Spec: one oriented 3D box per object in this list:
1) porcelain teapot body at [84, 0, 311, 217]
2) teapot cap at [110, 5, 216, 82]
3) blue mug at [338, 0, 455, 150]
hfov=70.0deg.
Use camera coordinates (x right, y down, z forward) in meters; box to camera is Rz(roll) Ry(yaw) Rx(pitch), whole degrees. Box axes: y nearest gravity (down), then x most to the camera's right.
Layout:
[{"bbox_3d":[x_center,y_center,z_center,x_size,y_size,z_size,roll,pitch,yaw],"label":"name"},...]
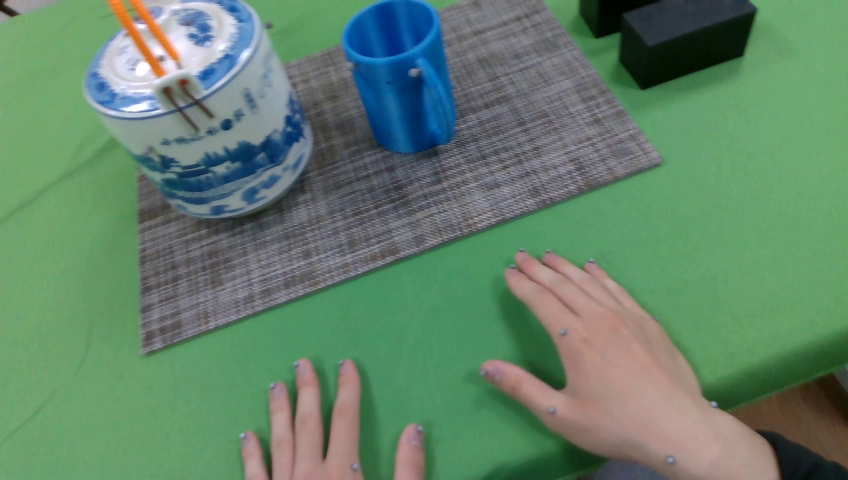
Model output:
[{"bbox_3d":[-0.203,-0.150,0.505,0.145,0.227,0.203,-27,55,-6],"label":"porcelain teapot body"},{"bbox_3d":[-0.199,-0.153,0.457,0.085,0.044,0.084,-5,53,7],"label":"teapot cap"},{"bbox_3d":[-0.012,-0.134,0.525,0.082,0.107,0.115,-35,56,-11],"label":"blue mug"}]
